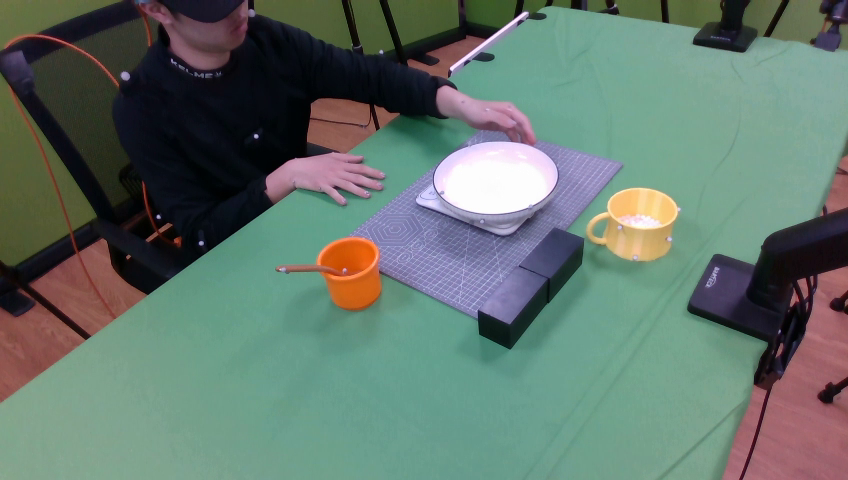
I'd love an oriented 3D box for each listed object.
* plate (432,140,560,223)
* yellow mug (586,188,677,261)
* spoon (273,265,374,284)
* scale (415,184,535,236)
[{"bbox_3d":[0.118,-0.094,0.999,0.209,0.038,0.208,-4,41,4],"label":"plate"},{"bbox_3d":[0.311,-0.022,0.916,0.131,0.064,0.099,-8,40,0],"label":"yellow mug"},{"bbox_3d":[-0.136,0.045,0.839,0.041,0.195,0.021,18,91,33],"label":"spoon"},{"bbox_3d":[0.099,-0.080,1.035,0.199,0.032,0.149,23,48,31],"label":"scale"}]
